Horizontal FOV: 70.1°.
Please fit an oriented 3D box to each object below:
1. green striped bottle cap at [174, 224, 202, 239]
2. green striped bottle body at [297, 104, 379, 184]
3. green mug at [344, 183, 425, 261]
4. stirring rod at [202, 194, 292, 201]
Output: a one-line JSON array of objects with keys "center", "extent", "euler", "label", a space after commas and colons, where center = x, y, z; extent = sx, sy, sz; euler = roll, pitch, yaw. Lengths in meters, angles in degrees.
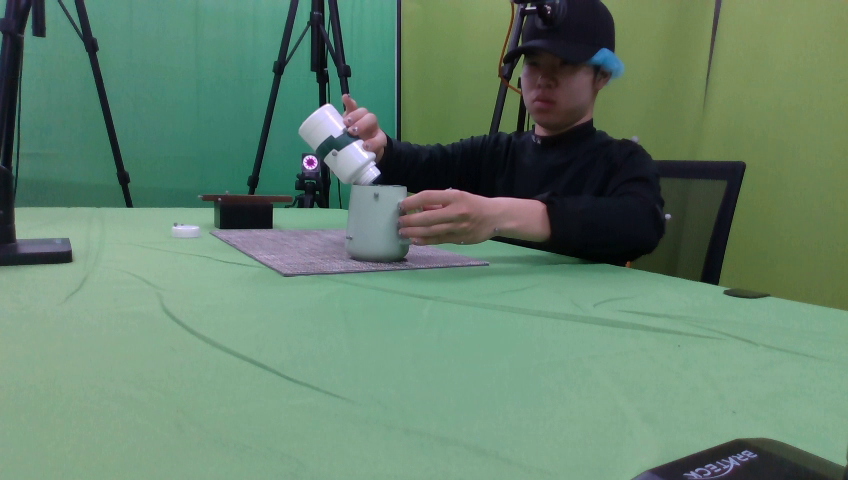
[{"center": [-0.404, -0.015, 1.036], "extent": [0.044, 0.020, 0.044], "euler": [-2, 9, 1], "label": "green striped bottle cap"}, {"center": [-0.117, -0.128, 0.854], "extent": [0.063, 0.119, 0.063], "euler": [-42, 5, 4], "label": "green striped bottle body"}, {"center": [-0.053, -0.026, 0.849], "extent": [0.125, 0.105, 0.093], "euler": [7, 8, 33], "label": "green mug"}, {"center": [-0.353, -0.086, 1.216], "extent": [0.177, 0.014, 0.006], "euler": [-1, 12, -27], "label": "stirring rod"}]
